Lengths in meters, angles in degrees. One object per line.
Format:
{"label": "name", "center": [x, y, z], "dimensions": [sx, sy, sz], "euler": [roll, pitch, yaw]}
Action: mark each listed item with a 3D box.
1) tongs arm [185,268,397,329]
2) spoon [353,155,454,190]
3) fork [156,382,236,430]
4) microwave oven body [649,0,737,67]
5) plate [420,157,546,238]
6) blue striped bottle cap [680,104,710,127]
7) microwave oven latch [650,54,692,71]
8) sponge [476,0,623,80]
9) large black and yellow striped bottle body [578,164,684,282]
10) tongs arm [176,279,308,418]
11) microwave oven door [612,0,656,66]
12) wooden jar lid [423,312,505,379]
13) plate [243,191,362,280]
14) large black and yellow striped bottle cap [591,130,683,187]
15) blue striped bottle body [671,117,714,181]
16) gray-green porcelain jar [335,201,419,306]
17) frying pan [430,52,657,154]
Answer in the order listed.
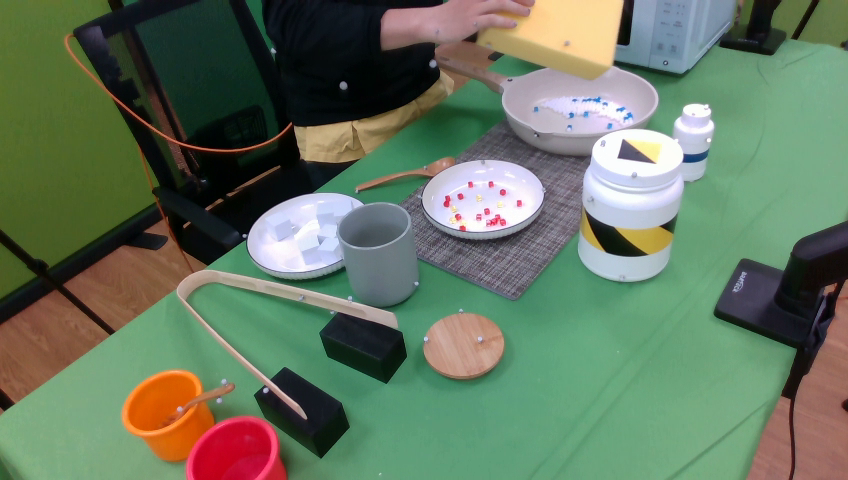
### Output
{"label": "tongs arm", "center": [-0.202, 0.084, 0.848], "dimensions": [0.382, 0.027, 0.051], "euler": [11, 44, 35]}
{"label": "spoon", "center": [-0.038, -0.123, 1.116], "dimensions": [0.194, 0.022, 0.041], "euler": [-12, 58, -4]}
{"label": "fork", "center": [-0.262, 0.189, 0.690], "dimensions": [0.018, 0.206, 0.028], "euler": [49, 43, -7]}
{"label": "microwave oven body", "center": [0.475, -0.602, 1.411], "dimensions": [0.438, 0.261, 0.327], "euler": [23, 50, 32]}
{"label": "plate", "center": [0.099, -0.067, 1.017], "dimensions": [0.209, 0.038, 0.208], "euler": [-4, 40, 4]}
{"label": "blue striped bottle cap", "center": [0.443, -0.205, 0.989], "dimensions": [0.044, 0.021, 0.044], "euler": [-1, 41, 2]}
{"label": "microwave oven latch", "center": [0.530, -0.386, 1.301], "dimensions": [0.078, 0.029, 0.030], "euler": [24, 50, 32]}
{"label": "sponge", "center": [0.196, -0.342, 0.943], "dimensions": [0.208, 0.060, 0.118], "euler": [13, 82, -13]}
{"label": "large black and yellow striped bottle body", "center": [0.292, -0.046, 0.859], "dimensions": [0.131, 0.185, 0.130], "euler": [-4, 41, 4]}
{"label": "tongs arm", "center": [-0.255, 0.132, 0.801], "dimensions": [0.028, 0.028, 0.384], "euler": [-41, 40, -23]}
{"label": "microwave oven door", "center": [0.350, -0.539, 1.349], "dimensions": [0.353, 0.245, 0.039], "euler": [24, 50, 31]}
{"label": "wooden jar lid", "center": [0.053, 0.142, 0.800], "dimensions": [0.108, 0.021, 0.108], "euler": [-5, 39, 4]}
{"label": "plate", "center": [-0.187, -0.005, 0.992], "dimensions": [0.207, 0.039, 0.206], "euler": [-3, 41, 4]}
{"label": "large black and yellow striped bottle cap", "center": [0.282, -0.111, 0.803], "dimensions": [0.115, 0.019, 0.114], "euler": [-3, 41, 3]}
{"label": "blue striped bottle body", "center": [0.449, -0.165, 1.022], "dimensions": [0.063, 0.121, 0.063], "euler": [-5, 41, 4]}
{"label": "gray-green porcelain jar", "center": [-0.064, 0.024, 0.872], "dimensions": [0.106, 0.127, 0.105], "euler": [-4, 41, 4]}
{"label": "frying pan", "center": [0.215, -0.302, 1.224], "dimensions": [0.484, 0.103, 0.308], "euler": [29, 49, 24]}
